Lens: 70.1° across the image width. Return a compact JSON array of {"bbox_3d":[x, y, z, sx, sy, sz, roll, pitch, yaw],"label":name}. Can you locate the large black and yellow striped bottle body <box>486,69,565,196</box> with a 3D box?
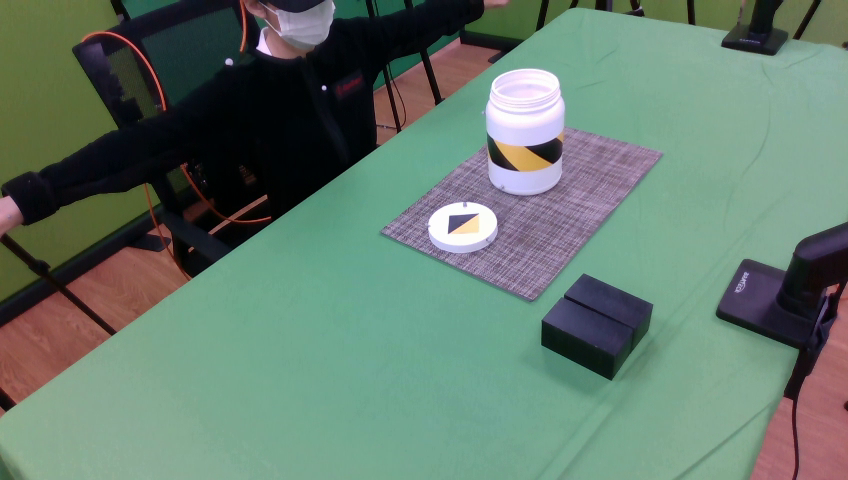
[{"bbox_3d":[0.173,-0.183,1.033,0.131,0.185,0.130,-5,41,5],"label":"large black and yellow striped bottle body"}]

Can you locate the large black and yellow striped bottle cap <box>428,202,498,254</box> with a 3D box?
[{"bbox_3d":[0.064,-0.022,0.990,0.115,0.019,0.114,-4,42,4],"label":"large black and yellow striped bottle cap"}]
